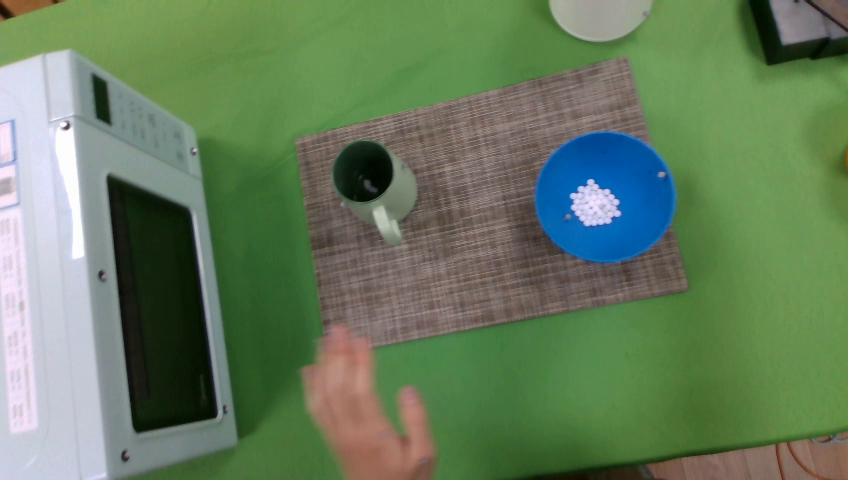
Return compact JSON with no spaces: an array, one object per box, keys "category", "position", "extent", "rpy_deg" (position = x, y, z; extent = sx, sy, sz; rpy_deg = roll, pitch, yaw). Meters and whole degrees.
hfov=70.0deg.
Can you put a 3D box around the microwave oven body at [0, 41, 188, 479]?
[{"category":"microwave oven body","position":[-0.453,0.059,0.711],"extent":[0.326,0.261,0.439],"rpy_deg":[-13,79,7]}]

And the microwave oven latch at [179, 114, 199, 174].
[{"category":"microwave oven latch","position":[-0.327,-0.128,0.818],"extent":[0.030,0.029,0.079],"rpy_deg":[-13,80,7]}]

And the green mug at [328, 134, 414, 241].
[{"category":"green mug","position":[-0.059,-0.060,0.740],"extent":[0.092,0.105,0.124],"rpy_deg":[-20,78,6]}]

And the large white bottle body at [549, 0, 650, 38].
[{"category":"large white bottle body","position":[0.209,-0.335,0.698],"extent":[0.130,0.185,0.130],"rpy_deg":[-2,80,10]}]

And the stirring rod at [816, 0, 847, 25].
[{"category":"stirring rod","position":[0.461,-0.262,0.679],"extent":[0.175,0.006,0.014],"rpy_deg":[46,125,13]}]

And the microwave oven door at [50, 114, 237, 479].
[{"category":"microwave oven door","position":[-0.305,0.066,0.679],"extent":[0.039,0.245,0.354],"rpy_deg":[-14,79,8]}]

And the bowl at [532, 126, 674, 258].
[{"category":"bowl","position":[0.202,-0.048,0.704],"extent":[0.151,0.077,0.151],"rpy_deg":[-2,80,11]}]
